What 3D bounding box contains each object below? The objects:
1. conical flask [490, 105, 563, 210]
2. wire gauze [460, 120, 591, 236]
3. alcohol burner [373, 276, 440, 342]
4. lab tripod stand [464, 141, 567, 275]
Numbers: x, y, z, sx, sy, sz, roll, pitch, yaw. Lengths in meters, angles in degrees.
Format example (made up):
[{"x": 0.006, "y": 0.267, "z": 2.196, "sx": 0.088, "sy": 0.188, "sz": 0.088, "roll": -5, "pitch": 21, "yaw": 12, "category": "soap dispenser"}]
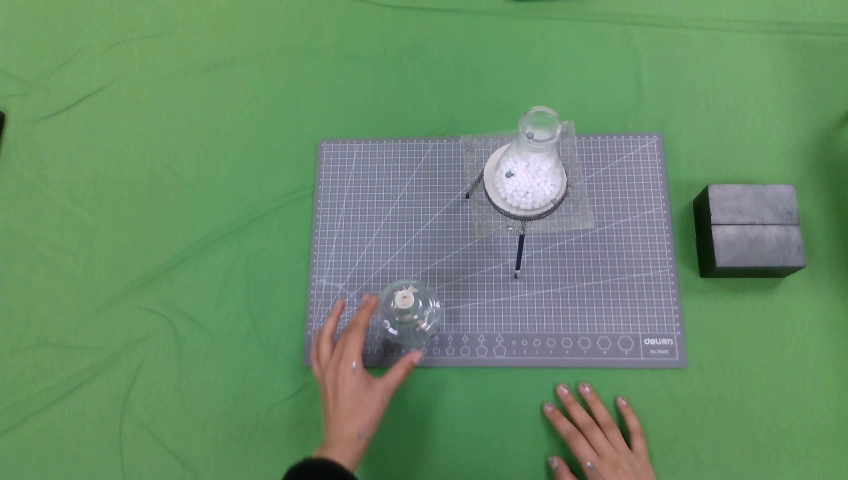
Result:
[{"x": 0.103, "y": -0.083, "z": 0.578, "sx": 0.075, "sy": 0.122, "sz": 0.075, "roll": -1, "pitch": 72, "yaw": 3, "category": "conical flask"}, {"x": 0.106, "y": -0.065, "z": 0.635, "sx": 0.125, "sy": 0.011, "sz": 0.121, "roll": -5, "pitch": 75, "yaw": -2, "category": "wire gauze"}, {"x": -0.021, "y": 0.074, "z": 0.680, "sx": 0.078, "sy": 0.120, "sz": 0.077, "roll": 0, "pitch": 72, "yaw": 1, "category": "alcohol burner"}, {"x": 0.112, "y": -0.048, "z": 0.698, "sx": 0.148, "sy": 0.132, "sz": 0.147, "roll": -1, "pitch": 71, "yaw": 3, "category": "lab tripod stand"}]
